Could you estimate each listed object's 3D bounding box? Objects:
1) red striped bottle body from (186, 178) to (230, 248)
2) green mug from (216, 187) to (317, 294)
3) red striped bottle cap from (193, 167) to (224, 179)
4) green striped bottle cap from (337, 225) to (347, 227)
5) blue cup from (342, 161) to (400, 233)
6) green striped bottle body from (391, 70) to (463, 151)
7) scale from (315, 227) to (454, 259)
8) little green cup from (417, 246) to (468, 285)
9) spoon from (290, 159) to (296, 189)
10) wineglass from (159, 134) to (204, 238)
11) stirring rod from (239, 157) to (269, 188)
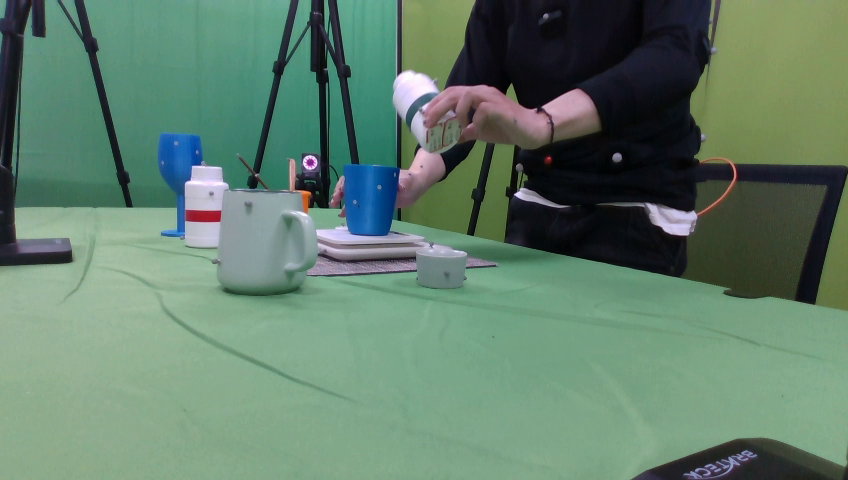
[{"bbox_3d":[-0.331,-0.050,0.927,0.063,0.119,0.063,2,6,0],"label":"red striped bottle body"},{"bbox_3d":[-0.157,0.000,0.629,0.124,0.105,0.093,7,9,37],"label":"green mug"},{"bbox_3d":[-0.329,-0.102,0.921,0.044,0.017,0.044,0,8,0],"label":"red striped bottle cap"},{"bbox_3d":[-0.137,-0.015,1.092,0.044,0.020,0.044,0,9,0],"label":"green striped bottle cap"},{"bbox_3d":[-0.079,-0.062,0.884,0.093,0.100,0.092,3,3,0],"label":"blue cup"},{"bbox_3d":[-0.002,-0.181,0.825,0.063,0.063,0.118,-4,49,-39],"label":"green striped bottle body"},{"bbox_3d":[-0.066,0.001,0.906,0.202,0.031,0.148,-2,8,-31],"label":"scale"},{"bbox_3d":[0.021,0.029,0.701,0.061,0.038,0.061,1,6,0],"label":"little green cup"},{"bbox_3d":[-0.273,-0.102,1.252,0.042,0.193,0.021,7,-38,-17],"label":"spoon"},{"bbox_3d":[-0.415,-0.093,1.040,0.074,0.172,0.073,2,7,0],"label":"wineglass"},{"bbox_3d":[-0.309,-0.098,1.209,0.006,0.177,0.014,-38,29,-3],"label":"stirring rod"}]
